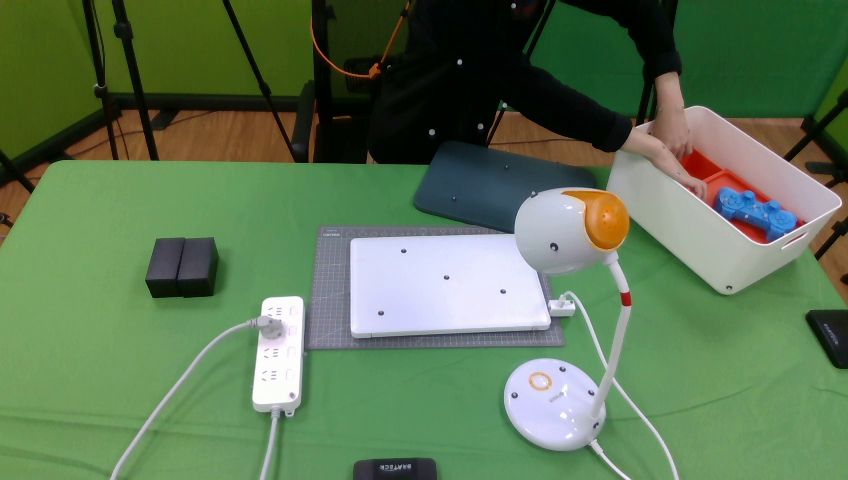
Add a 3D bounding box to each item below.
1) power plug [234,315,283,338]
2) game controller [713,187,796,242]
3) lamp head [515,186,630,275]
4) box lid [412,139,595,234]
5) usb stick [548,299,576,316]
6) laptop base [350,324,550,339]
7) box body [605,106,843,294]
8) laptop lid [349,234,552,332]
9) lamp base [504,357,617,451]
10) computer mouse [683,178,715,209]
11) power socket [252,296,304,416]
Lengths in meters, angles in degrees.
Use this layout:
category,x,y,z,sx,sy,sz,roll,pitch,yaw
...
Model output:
category,x,y,z,sx,sy,sz,roll,pitch,yaw
power plug,-0.269,0.143,1.000,0.072,0.053,0.035,4,47,2
game controller,0.645,-0.058,1.184,0.154,0.052,0.097,27,53,20
lamp head,0.188,-0.013,0.728,0.112,0.112,0.122,-25,9,-25
box lid,0.182,-0.111,1.327,0.371,0.015,0.262,14,46,10
usb stick,0.239,0.121,1.084,0.059,0.027,0.021,-1,51,-1
laptop base,0.039,0.081,1.125,0.355,0.023,0.234,-2,43,-6
box body,0.582,-0.088,1.230,0.254,0.161,0.361,-22,52,-23
laptop lid,0.040,0.071,1.118,0.357,0.013,0.240,0,44,-5
lamp base,0.220,0.211,0.903,0.160,0.181,0.178,-33,59,-30
computer mouse,0.596,-0.078,1.291,0.117,0.041,0.063,56,46,-7
power socket,-0.238,0.181,0.997,0.072,0.033,0.225,-3,47,-5
